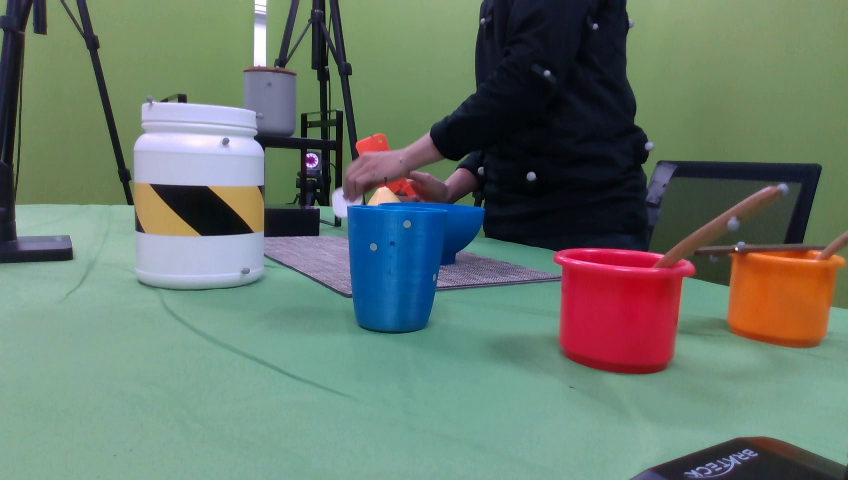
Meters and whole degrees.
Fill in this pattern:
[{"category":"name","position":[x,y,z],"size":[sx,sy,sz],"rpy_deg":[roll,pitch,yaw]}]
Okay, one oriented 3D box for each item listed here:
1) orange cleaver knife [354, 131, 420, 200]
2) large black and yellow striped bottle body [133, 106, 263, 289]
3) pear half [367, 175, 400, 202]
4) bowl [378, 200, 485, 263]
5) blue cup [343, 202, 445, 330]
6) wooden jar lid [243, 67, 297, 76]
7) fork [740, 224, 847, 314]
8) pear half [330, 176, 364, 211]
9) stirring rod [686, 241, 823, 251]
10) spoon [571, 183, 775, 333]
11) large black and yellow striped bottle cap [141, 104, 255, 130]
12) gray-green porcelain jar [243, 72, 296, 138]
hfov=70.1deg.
[{"category":"orange cleaver knife","position":[-0.068,-0.130,1.249],"size":[0.077,0.212,0.012],"rpy_deg":[-43,24,-21]},{"category":"large black and yellow striped bottle body","position":[-0.243,-0.048,0.659],"size":[0.131,0.184,0.130],"rpy_deg":[2,7,0]},{"category":"pear half","position":[-0.064,-0.061,1.077],"size":[0.055,0.110,0.077],"rpy_deg":[9,14,40]},{"category":"bowl","position":[0.008,-0.012,0.842],"size":[0.151,0.077,0.151],"rpy_deg":[3,7,0]},{"category":"blue cup","position":[-0.027,0.020,0.510],"size":[0.093,0.100,0.092],"rpy_deg":[3,6,0]},{"category":"wooden jar lid","position":[-0.319,-0.342,1.254],"size":[0.108,0.020,0.108],"rpy_deg":[3,8,0]},{"category":"fork","position":[0.323,0.013,0.485],"size":[0.028,0.018,0.207],"rpy_deg":[9,-38,-5]},{"category":"pear half","position":[-0.146,-0.086,1.173],"size":[0.087,0.070,0.031],"rpy_deg":[30,-6,40]},{"category":"stirring rod","position":[0.289,0.005,0.525],"size":[0.177,0.006,0.014],"rpy_deg":[-1,6,-26]},{"category":"spoon","position":[0.160,0.020,0.413],"size":[0.042,0.021,0.193],"rpy_deg":[0,-36,-24]},{"category":"large black and yellow striped bottle cap","position":[-0.241,-0.131,0.650],"size":[0.115,0.019,0.115],"rpy_deg":[3,8,0]},{"category":"gray-green porcelain jar","position":[-0.322,-0.279,1.263],"size":[0.106,0.126,0.106],"rpy_deg":[3,8,0]}]
